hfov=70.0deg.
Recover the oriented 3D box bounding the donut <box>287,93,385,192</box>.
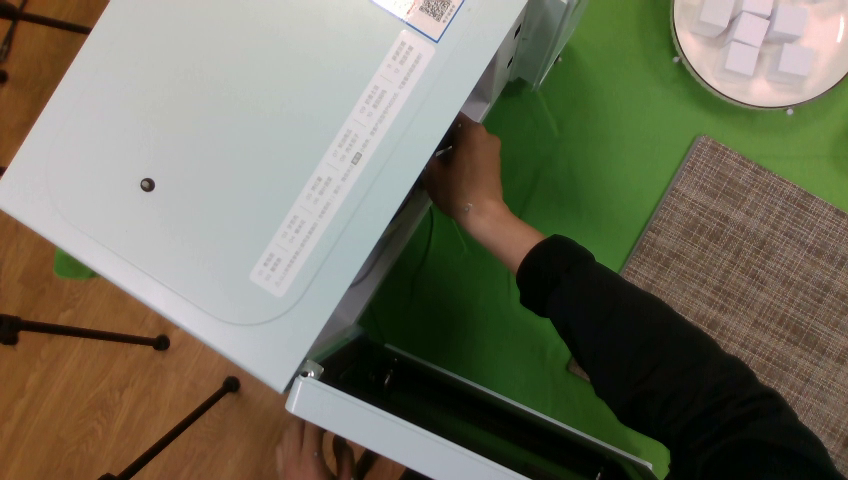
[{"bbox_3d":[-0.088,-0.097,0.607,0.099,0.048,0.099,1,94,8],"label":"donut"}]

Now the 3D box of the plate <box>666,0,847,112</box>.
[{"bbox_3d":[0.367,-0.241,0.660,0.207,0.039,0.207,0,89,3],"label":"plate"}]

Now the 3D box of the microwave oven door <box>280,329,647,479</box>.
[{"bbox_3d":[0.066,0.183,0.549,0.355,0.244,0.039,24,90,3],"label":"microwave oven door"}]

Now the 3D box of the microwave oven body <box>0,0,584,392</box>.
[{"bbox_3d":[-0.096,-0.141,0.567,0.326,0.260,0.441,32,91,3],"label":"microwave oven body"}]

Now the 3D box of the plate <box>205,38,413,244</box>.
[{"bbox_3d":[-0.115,-0.099,0.623,0.209,0.038,0.209,0,88,-1],"label":"plate"}]

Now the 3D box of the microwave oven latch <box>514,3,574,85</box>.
[{"bbox_3d":[0.129,-0.209,0.653,0.030,0.029,0.079,35,92,3],"label":"microwave oven latch"}]
